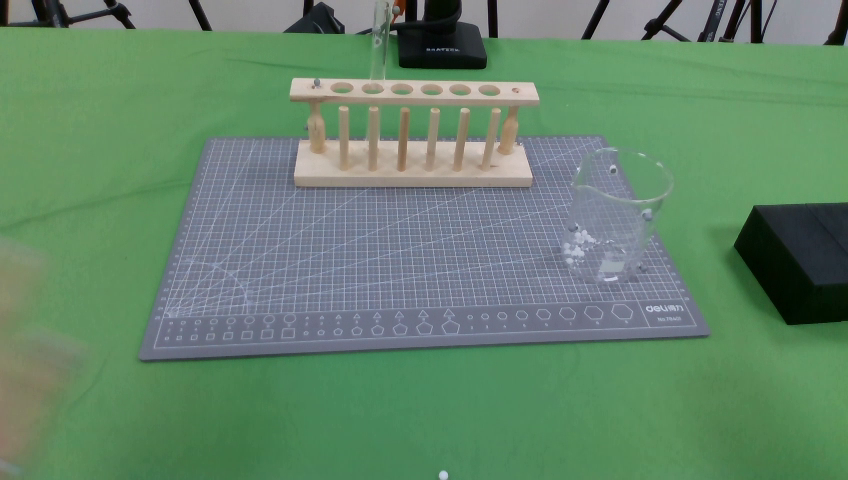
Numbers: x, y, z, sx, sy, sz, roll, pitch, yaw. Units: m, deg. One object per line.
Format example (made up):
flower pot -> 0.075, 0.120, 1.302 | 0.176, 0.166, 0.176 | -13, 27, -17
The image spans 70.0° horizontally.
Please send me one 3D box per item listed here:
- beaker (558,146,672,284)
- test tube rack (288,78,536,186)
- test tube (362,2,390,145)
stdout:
beaker -> 0.156, -0.018, 0.521 | 0.084, 0.101, 0.073 | -7, 43, -10
test tube rack -> -0.012, -0.108, 0.614 | 0.243, 0.086, 0.066 | 0, 43, -5
test tube -> -0.048, -0.156, 0.590 | 0.017, 0.151, 0.017 | 6, 41, -5
